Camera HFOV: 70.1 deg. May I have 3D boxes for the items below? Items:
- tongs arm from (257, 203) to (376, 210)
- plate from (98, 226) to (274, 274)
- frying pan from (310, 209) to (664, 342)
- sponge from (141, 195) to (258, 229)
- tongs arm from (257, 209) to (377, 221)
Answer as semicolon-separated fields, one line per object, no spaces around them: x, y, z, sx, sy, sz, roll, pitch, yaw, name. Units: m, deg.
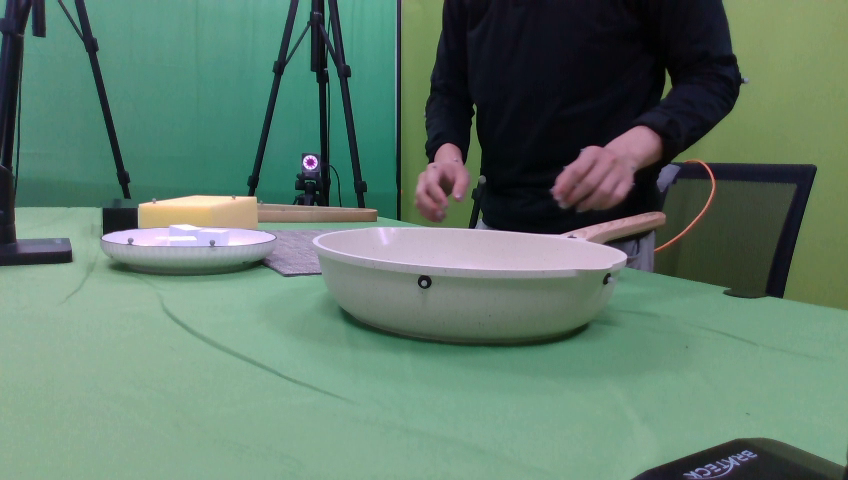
-0.306;-0.070;1.430;0.386;0.026;0.050;2;8;-15;tongs arm
-0.301;0.011;0.778;0.208;0.039;0.207;2;7;0;plate
0.120;0.011;0.643;0.490;0.102;0.305;-14;16;-37;frying pan
-0.380;-0.040;1.047;0.118;0.061;0.207;1;8;3;sponge
-0.280;-0.056;1.355;0.389;0.028;0.028;-1;6;-28;tongs arm
